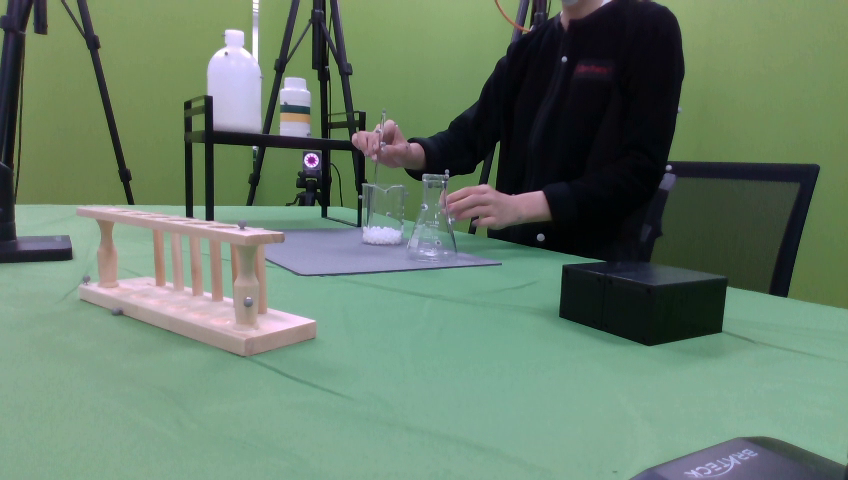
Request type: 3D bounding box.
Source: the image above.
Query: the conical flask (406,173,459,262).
[{"bbox_3d":[0.014,-0.033,0.851,0.075,0.122,0.075,3,7,0],"label":"conical flask"}]

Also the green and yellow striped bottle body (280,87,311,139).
[{"bbox_3d":[-0.269,-0.274,1.266,0.063,0.119,0.063,3,7,0],"label":"green and yellow striped bottle body"}]

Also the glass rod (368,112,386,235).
[{"bbox_3d":[-0.076,-0.105,0.971,0.008,0.199,0.008,7,8,-1],"label":"glass rod"}]

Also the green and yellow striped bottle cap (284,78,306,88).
[{"bbox_3d":[-0.268,-0.325,1.259,0.045,0.020,0.045,5,7,0],"label":"green and yellow striped bottle cap"}]

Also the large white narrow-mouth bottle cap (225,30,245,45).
[{"bbox_3d":[-0.365,-0.390,1.166,0.038,0.024,0.037,2,9,0],"label":"large white narrow-mouth bottle cap"}]

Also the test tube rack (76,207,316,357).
[{"bbox_3d":[-0.196,0.023,0.500,0.241,0.085,0.067,8,9,36],"label":"test tube rack"}]

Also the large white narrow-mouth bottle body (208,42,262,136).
[{"bbox_3d":[-0.368,-0.304,1.181,0.102,0.194,0.101,2,9,0],"label":"large white narrow-mouth bottle body"}]

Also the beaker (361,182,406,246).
[{"bbox_3d":[-0.067,-0.042,0.993,0.074,0.100,0.084,1,8,-8],"label":"beaker"}]
